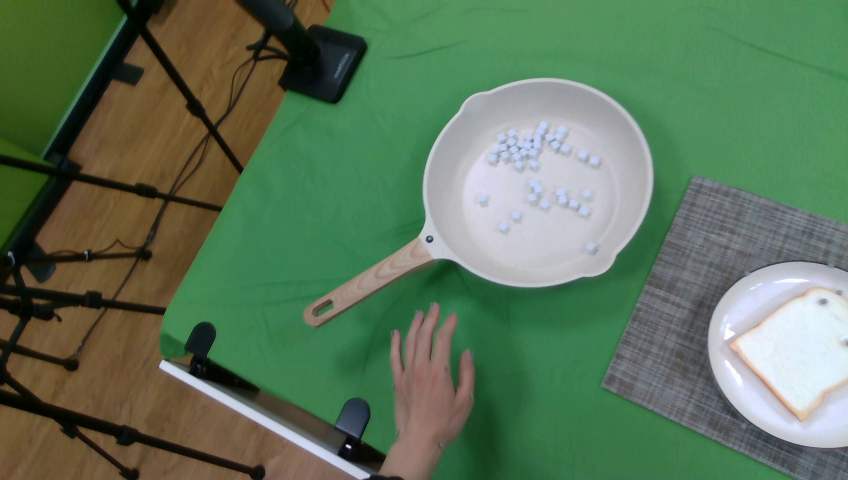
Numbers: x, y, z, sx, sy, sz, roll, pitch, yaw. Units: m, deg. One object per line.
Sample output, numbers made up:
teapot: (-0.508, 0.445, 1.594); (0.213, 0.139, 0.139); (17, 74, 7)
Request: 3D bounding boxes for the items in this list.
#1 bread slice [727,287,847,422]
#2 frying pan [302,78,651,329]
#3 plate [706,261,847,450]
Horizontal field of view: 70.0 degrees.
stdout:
bread slice: (0.427, 0.118, 0.680); (0.134, 0.018, 0.106); (-42, 68, 1)
frying pan: (0.055, -0.020, 0.795); (0.488, 0.103, 0.304); (-29, 66, -5)
plate: (0.426, 0.126, 0.677); (0.207, 0.039, 0.206); (-5, 71, 14)
